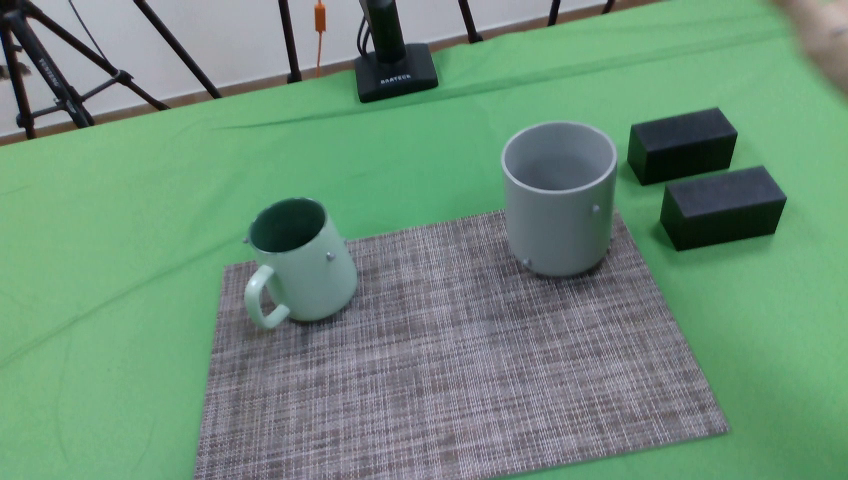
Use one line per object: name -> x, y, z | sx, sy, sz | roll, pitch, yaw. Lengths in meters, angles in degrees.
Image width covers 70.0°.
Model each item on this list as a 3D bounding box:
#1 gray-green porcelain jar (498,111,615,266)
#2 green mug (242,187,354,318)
gray-green porcelain jar -> 0.130, -0.045, 0.597 | 0.106, 0.128, 0.105 | -6, 47, 7
green mug -> -0.133, 0.023, 0.605 | 0.092, 0.106, 0.125 | 16, 53, 24
